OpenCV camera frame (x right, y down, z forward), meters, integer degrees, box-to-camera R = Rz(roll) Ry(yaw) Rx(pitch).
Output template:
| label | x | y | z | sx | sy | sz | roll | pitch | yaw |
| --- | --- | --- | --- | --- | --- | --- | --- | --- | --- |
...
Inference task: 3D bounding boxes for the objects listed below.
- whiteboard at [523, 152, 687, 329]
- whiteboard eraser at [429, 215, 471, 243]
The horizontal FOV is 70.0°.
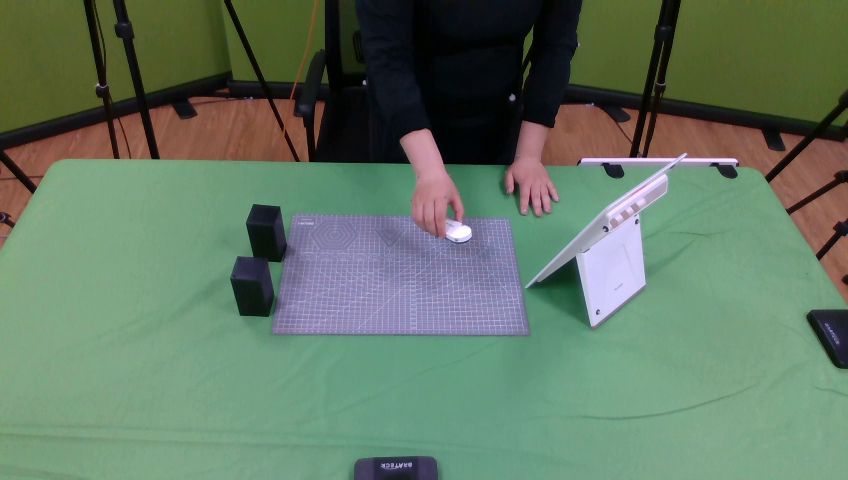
| label | x | y | z | sx | sy | sz | roll | pitch | yaw |
| --- | --- | --- | --- | --- | --- | --- | --- | --- | --- |
| whiteboard | 0.346 | 0.025 | 1.046 | 0.217 | 0.306 | 0.143 | -30 | 74 | -29 |
| whiteboard eraser | 0.048 | -0.021 | 1.127 | 0.041 | 0.019 | 0.100 | -29 | 36 | -25 |
